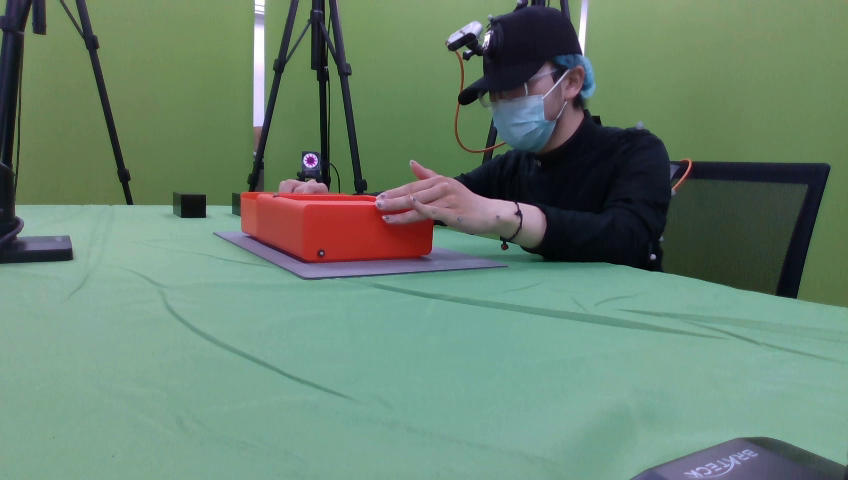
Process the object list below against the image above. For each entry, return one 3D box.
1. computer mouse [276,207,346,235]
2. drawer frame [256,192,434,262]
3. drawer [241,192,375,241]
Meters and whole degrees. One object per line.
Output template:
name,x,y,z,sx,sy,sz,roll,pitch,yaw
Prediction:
computer mouse,-0.193,-0.033,1.031,0.117,0.041,0.062,-7,14,-5
drawer frame,-0.125,-0.026,0.909,0.203,0.082,0.212,-1,9,-32
drawer,-0.174,-0.036,0.987,0.195,0.073,0.210,-1,8,-31
